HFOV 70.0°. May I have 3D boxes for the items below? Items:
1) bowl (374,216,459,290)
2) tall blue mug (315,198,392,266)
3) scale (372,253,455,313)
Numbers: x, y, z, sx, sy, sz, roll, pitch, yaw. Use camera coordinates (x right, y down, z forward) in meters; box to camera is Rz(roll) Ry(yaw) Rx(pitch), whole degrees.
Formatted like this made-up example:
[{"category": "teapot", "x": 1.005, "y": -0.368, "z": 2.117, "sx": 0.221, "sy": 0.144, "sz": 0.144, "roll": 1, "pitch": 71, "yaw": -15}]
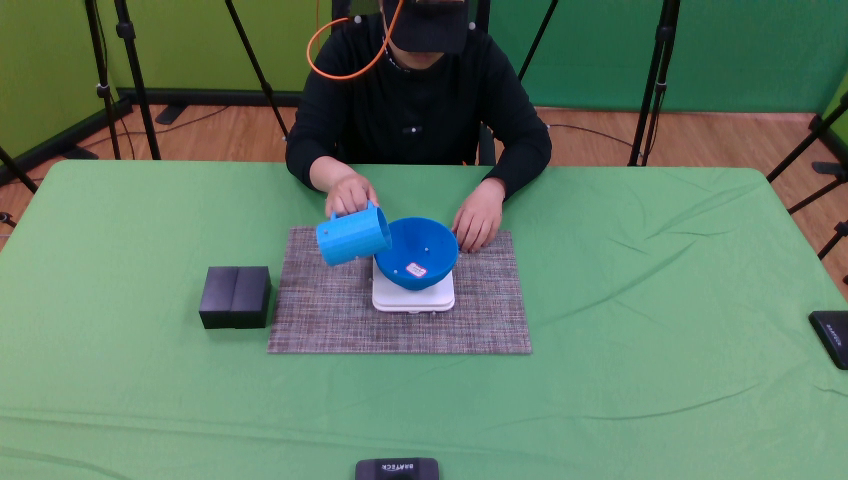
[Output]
[{"category": "bowl", "x": -0.015, "y": 0.036, "z": 1.075, "sx": 0.151, "sy": 0.077, "sz": 0.150, "roll": 1, "pitch": 46, "yaw": -1}, {"category": "tall blue mug", "x": -0.121, "y": -0.021, "z": 1.018, "sx": 0.108, "sy": 0.078, "sz": 0.107, "roll": -17, "pitch": 81, "yaw": 8}, {"category": "scale", "x": -0.022, "y": 0.051, "z": 1.134, "sx": 0.149, "sy": 0.032, "sz": 0.199, "roll": 1, "pitch": 46, "yaw": -4}]
